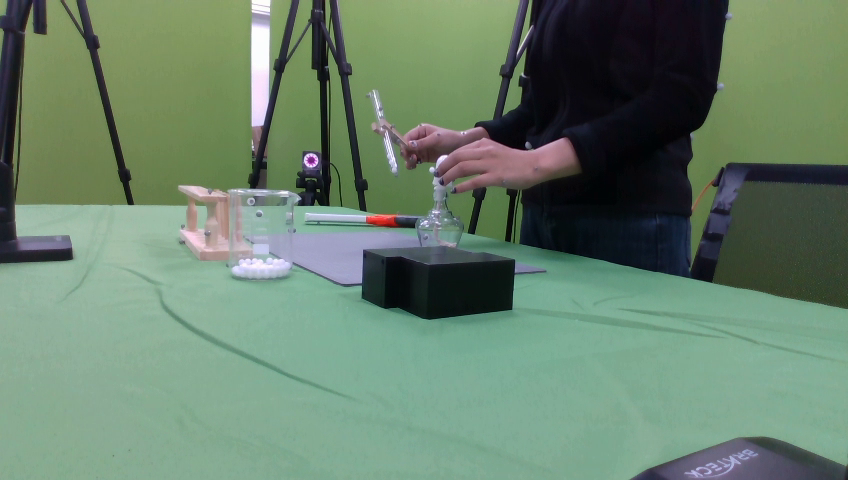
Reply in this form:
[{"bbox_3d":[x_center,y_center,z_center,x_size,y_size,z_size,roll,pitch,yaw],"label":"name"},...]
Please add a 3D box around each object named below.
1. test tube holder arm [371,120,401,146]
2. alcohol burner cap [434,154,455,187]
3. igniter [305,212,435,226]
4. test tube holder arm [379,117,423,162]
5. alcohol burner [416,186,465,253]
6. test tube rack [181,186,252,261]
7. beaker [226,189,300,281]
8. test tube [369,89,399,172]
[{"bbox_3d":[-0.061,-0.179,1.022,0.010,0.015,0.088,-24,-21,24],"label":"test tube holder arm"},{"bbox_3d":[0.033,-0.106,0.920,0.034,0.048,0.034,4,17,-1],"label":"alcohol burner cap"},{"bbox_3d":[-0.114,-0.046,1.296,0.277,0.025,0.057,1,-2,-11],"label":"igniter"},{"bbox_3d":[-0.037,-0.172,1.060,0.013,0.015,0.179,-21,-20,16],"label":"test tube holder arm"},{"bbox_3d":[0.026,-0.040,0.935,0.078,0.119,0.078,1,6,0],"label":"alcohol burner"},{"bbox_3d":[-0.312,-0.031,0.893,0.067,0.085,0.241,-1,8,-27],"label":"test tube rack"},{"bbox_3d":[-0.184,-0.007,0.694,0.084,0.100,0.073,-1,8,-29],"label":"beaker"},{"bbox_3d":[-0.066,-0.182,0.999,0.017,0.150,0.017,-15,-14,-3],"label":"test tube"}]
